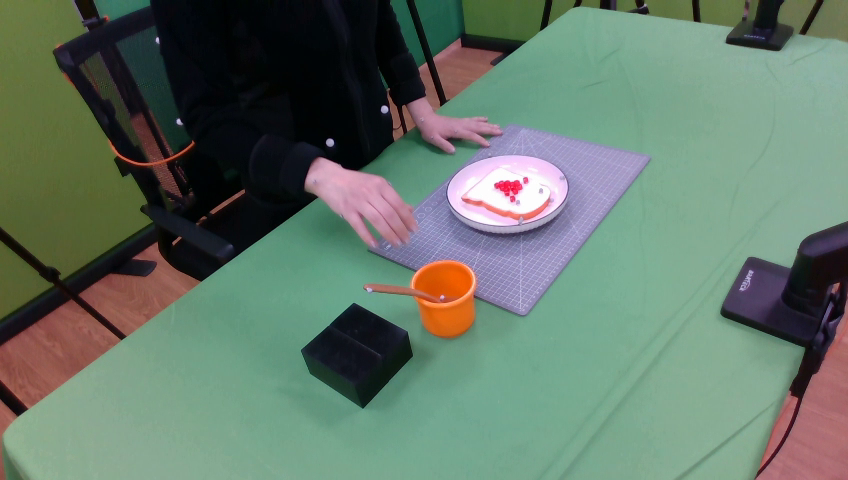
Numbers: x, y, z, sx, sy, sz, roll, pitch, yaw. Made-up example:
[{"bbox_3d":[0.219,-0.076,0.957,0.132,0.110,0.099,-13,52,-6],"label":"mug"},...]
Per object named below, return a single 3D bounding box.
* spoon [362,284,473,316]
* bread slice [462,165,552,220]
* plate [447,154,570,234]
[{"bbox_3d":[-0.004,0.075,0.800,0.021,0.195,0.041,-54,45,16],"label":"spoon"},{"bbox_3d":[0.149,-0.080,1.036,0.133,0.018,0.107,22,51,31],"label":"bread slice"},{"bbox_3d":[0.143,-0.076,1.032,0.209,0.038,0.208,-5,40,5],"label":"plate"}]
